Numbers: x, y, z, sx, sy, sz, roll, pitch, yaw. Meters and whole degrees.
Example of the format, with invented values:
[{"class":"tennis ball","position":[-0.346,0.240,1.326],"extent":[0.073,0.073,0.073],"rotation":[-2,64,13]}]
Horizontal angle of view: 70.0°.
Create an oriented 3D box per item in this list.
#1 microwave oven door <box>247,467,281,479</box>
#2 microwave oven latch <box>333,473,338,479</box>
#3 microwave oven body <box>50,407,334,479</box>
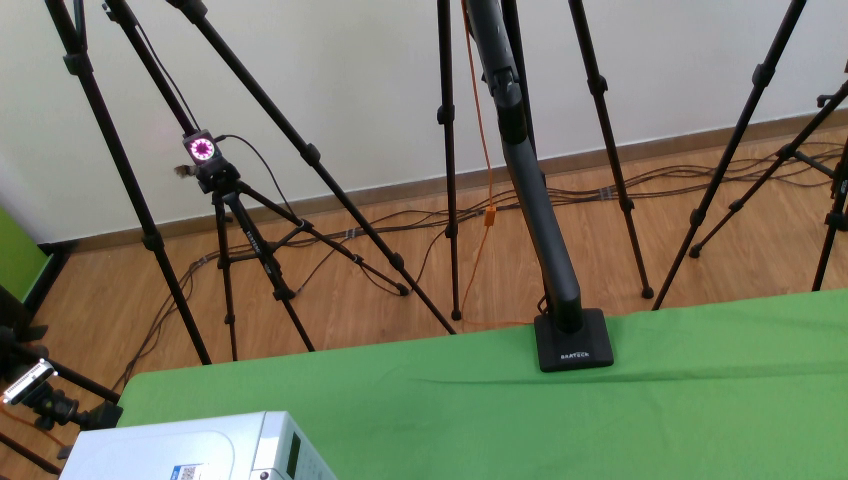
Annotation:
[{"class":"microwave oven door","position":[-0.169,0.471,0.668],"extent":[0.039,0.246,0.352],"rotation":[-9,44,9]},{"class":"microwave oven latch","position":[-0.142,0.388,0.891],"extent":[0.030,0.030,0.078],"rotation":[-8,45,9]},{"class":"microwave oven body","position":[-0.311,0.468,0.724],"extent":[0.325,0.263,0.437],"rotation":[-8,45,9]}]
